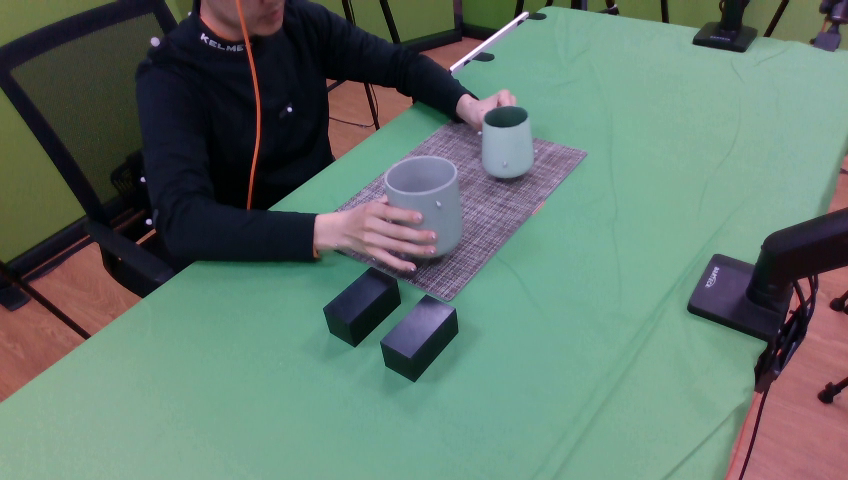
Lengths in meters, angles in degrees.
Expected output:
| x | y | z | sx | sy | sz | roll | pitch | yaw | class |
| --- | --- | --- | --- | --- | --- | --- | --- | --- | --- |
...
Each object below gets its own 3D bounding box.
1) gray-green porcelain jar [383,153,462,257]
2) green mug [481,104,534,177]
| x | y | z | sx | sy | sz | roll | pitch | yaw | class |
| --- | --- | --- | --- | --- | --- | --- | --- | --- | --- |
| 0.000 | -0.047 | 0.891 | 0.106 | 0.127 | 0.105 | -5 | 38 | 4 | gray-green porcelain jar |
| 0.141 | -0.182 | 1.067 | 0.092 | 0.105 | 0.124 | -11 | 40 | 0 | green mug |
